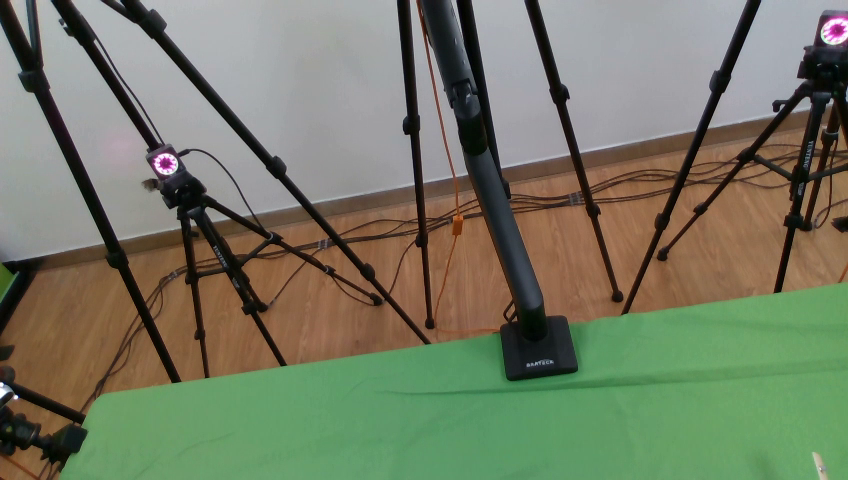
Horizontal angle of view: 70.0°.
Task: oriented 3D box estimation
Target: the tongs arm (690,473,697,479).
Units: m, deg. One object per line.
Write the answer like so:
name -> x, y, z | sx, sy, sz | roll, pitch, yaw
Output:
tongs arm -> 0.387, 0.450, 0.686 | 0.028, 0.028, 0.383 | -30, 39, 19

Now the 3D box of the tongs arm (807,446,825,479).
tongs arm -> 0.450, 0.415, 0.647 | 0.050, 0.027, 0.381 | -23, 43, 31
